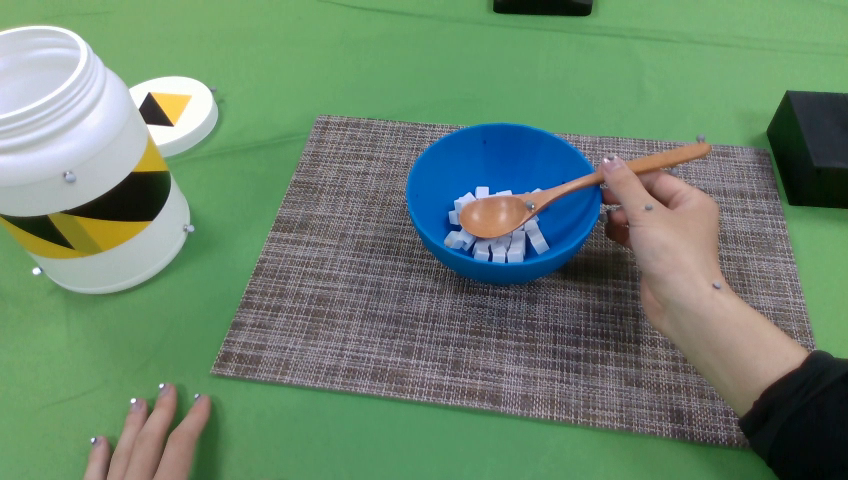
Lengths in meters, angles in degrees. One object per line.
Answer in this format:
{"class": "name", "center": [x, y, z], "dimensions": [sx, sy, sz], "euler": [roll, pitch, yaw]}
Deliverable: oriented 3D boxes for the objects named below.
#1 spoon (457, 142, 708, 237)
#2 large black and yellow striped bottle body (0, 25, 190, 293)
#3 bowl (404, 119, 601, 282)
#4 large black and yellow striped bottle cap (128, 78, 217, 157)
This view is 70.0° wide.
{"class": "spoon", "center": [0.119, -0.041, 0.464], "dimensions": [0.193, 0.022, 0.041], "euler": [-18, 52, 13]}
{"class": "large black and yellow striped bottle body", "center": [-0.278, -0.058, 0.478], "dimensions": [0.131, 0.186, 0.129], "euler": [-1, 52, 2]}
{"class": "bowl", "center": [0.061, -0.019, 0.493], "dimensions": [0.151, 0.077, 0.150], "euler": [-1, 53, 2]}
{"class": "large black and yellow striped bottle cap", "center": [-0.279, -0.131, 0.641], "dimensions": [0.115, 0.019, 0.114], "euler": [0, 52, 1]}
